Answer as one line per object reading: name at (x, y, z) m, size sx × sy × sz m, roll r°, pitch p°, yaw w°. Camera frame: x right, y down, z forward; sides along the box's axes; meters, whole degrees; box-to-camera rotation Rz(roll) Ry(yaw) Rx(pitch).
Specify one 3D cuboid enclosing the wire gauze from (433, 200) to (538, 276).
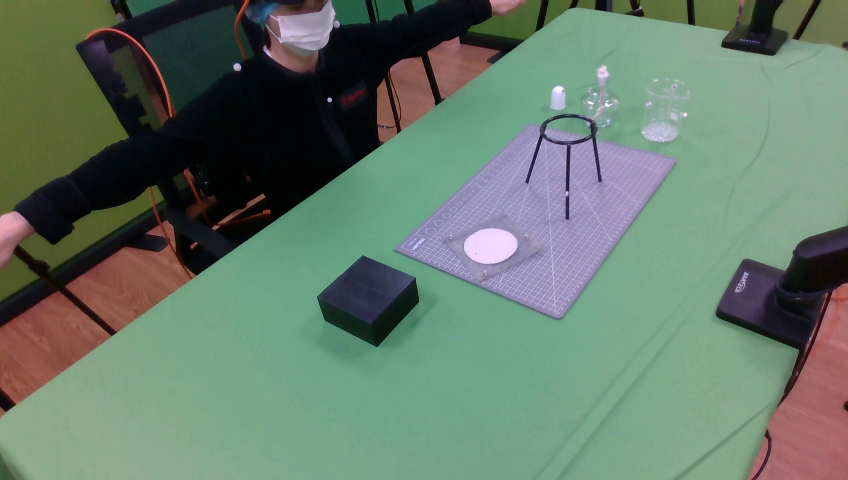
wire gauze at (0.096, -0.004, 0.949) m, size 0.120 × 0.011 × 0.125 m, roll 29°, pitch 58°, yaw 34°

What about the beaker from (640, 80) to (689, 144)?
beaker at (0.446, -0.235, 1.126) m, size 0.074 × 0.101 × 0.083 m, roll -34°, pitch 47°, yaw -27°

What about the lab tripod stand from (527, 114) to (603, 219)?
lab tripod stand at (0.234, -0.129, 1.002) m, size 0.148 × 0.132 × 0.147 m, roll -6°, pitch 40°, yaw 6°

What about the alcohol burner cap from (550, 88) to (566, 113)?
alcohol burner cap at (0.282, -0.296, 1.270) m, size 0.034 × 0.048 × 0.033 m, roll -4°, pitch 41°, yaw 4°

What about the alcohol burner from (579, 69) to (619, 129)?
alcohol burner at (0.345, -0.280, 1.184) m, size 0.078 × 0.119 × 0.077 m, roll -4°, pitch 42°, yaw 4°
